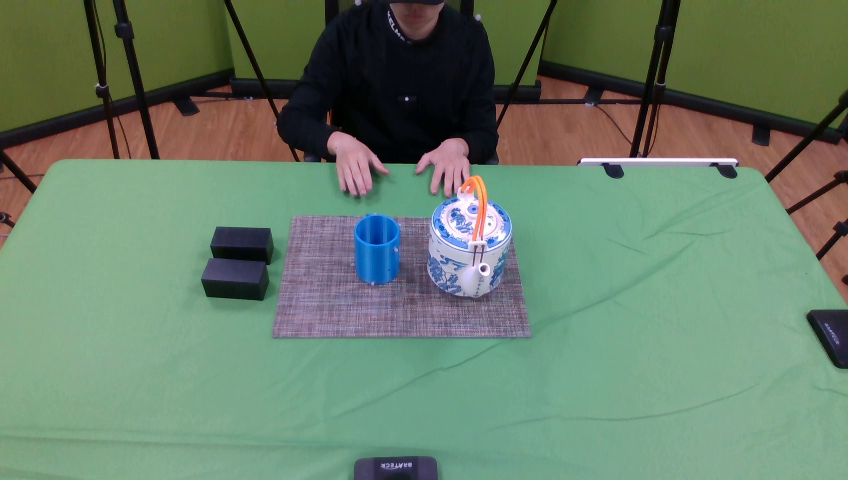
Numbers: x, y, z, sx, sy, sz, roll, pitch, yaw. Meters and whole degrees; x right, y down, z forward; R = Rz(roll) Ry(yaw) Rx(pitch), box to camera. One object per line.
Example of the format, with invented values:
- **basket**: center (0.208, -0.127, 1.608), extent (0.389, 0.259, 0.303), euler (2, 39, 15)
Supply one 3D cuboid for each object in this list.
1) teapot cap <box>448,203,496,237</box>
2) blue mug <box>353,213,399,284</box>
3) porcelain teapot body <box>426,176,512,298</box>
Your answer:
- **teapot cap**: center (0.083, -0.038, 1.041), extent (0.085, 0.044, 0.084), euler (0, 48, 0)
- **blue mug**: center (-0.093, 0.006, 1.123), extent (0.082, 0.106, 0.115), euler (-12, 48, -15)
- **porcelain teapot body**: center (0.085, 0.009, 1.051), extent (0.145, 0.226, 0.204), euler (-5, 47, -9)
